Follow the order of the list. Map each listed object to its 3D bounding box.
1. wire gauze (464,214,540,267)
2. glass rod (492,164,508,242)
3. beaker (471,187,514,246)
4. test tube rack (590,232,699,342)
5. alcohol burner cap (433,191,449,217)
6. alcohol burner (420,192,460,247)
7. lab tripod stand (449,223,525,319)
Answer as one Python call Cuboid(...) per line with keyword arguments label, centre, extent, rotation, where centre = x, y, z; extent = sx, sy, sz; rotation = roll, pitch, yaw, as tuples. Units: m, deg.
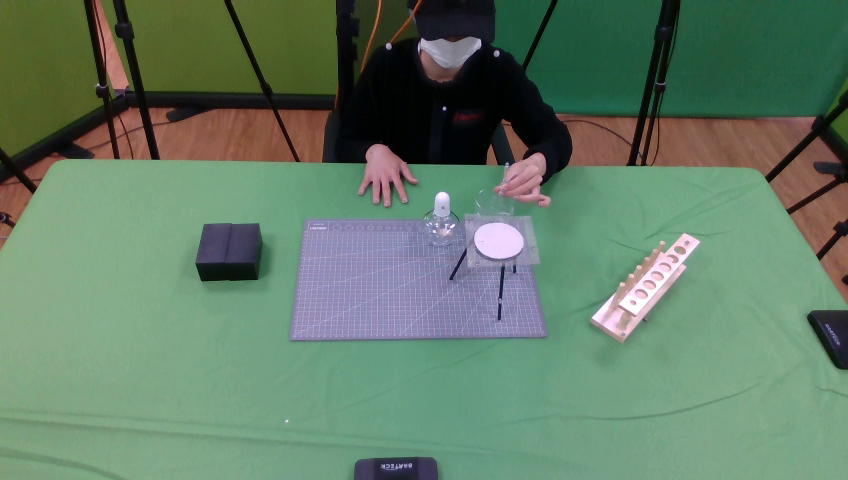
Cuboid(label="wire gauze", centre=(0.131, -0.002, 1.034), extent=(0.121, 0.011, 0.124), rotation=(1, 45, -2))
Cuboid(label="glass rod", centre=(0.142, -0.064, 1.133), extent=(0.008, 0.201, 0.008), rotation=(1, 48, -1))
Cuboid(label="beaker", centre=(0.134, -0.042, 1.190), extent=(0.083, 0.101, 0.074), rotation=(34, 53, 25))
Cuboid(label="test tube rack", centre=(0.407, 0.074, 1.112), extent=(0.066, 0.085, 0.242), rotation=(35, 53, 26))
Cuboid(label="alcohol burner cap", centre=(0.033, -0.070, 1.150), extent=(0.034, 0.048, 0.033), rotation=(0, 45, 0))
Cuboid(label="alcohol burner", centre=(0.032, -0.045, 1.176), extent=(0.078, 0.120, 0.077), rotation=(2, 44, -1))
Cuboid(label="lab tripod stand", centre=(0.120, 0.046, 1.080), extent=(0.148, 0.132, 0.147), rotation=(1, 47, -1))
